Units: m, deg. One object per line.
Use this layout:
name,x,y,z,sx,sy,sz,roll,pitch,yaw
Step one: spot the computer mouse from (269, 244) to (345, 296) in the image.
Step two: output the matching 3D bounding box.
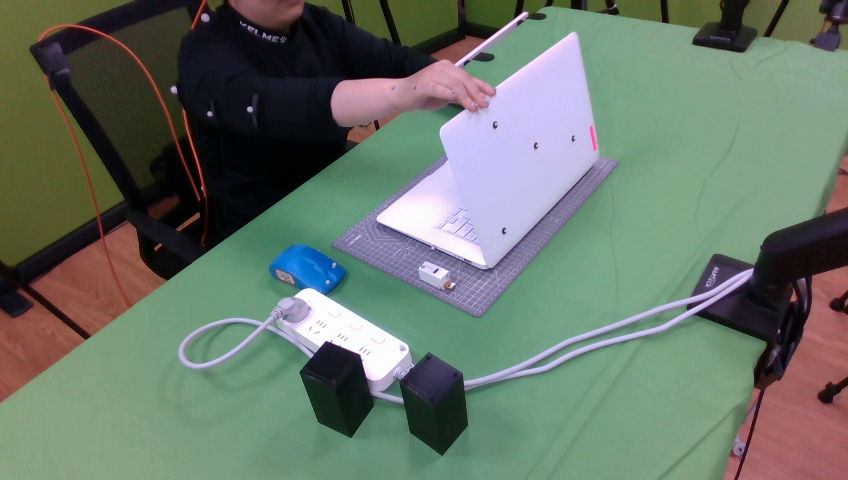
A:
computer mouse,-0.182,0.044,0.933,0.116,0.041,0.063,23,47,25

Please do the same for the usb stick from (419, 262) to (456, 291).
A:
usb stick,0.021,0.056,0.892,0.058,0.027,0.021,24,46,30

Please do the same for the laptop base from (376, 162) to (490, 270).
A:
laptop base,0.115,-0.086,1.057,0.233,0.023,0.355,22,48,34

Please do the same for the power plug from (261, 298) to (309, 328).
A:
power plug,-0.193,0.107,0.831,0.073,0.053,0.035,-32,44,-25

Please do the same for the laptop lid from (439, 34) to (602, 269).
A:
laptop lid,0.169,-0.146,0.936,0.013,0.243,0.358,8,38,45

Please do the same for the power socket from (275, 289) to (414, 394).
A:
power socket,-0.115,0.133,0.820,0.225,0.033,0.072,25,49,32
